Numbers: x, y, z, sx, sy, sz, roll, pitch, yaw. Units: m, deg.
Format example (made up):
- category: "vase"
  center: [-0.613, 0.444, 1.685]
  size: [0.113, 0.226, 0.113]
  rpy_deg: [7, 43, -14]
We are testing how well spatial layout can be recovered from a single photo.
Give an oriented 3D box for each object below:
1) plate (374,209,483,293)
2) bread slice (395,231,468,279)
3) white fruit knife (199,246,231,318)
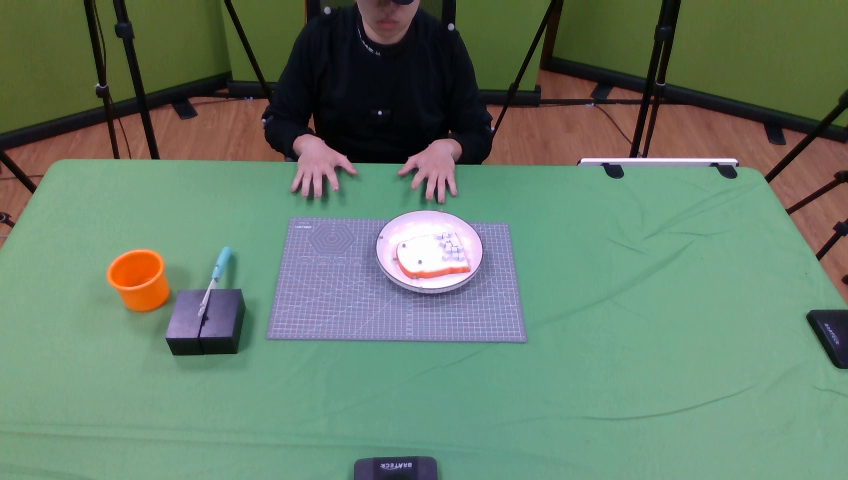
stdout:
- category: "plate"
  center: [0.009, 0.024, 1.160]
  size: [0.209, 0.038, 0.208]
  rpy_deg: [2, 46, -2]
- category: "bread slice"
  center: [0.011, 0.030, 1.158]
  size: [0.132, 0.019, 0.104]
  rpy_deg: [-9, 47, -14]
- category: "white fruit knife"
  center: [-0.367, 0.069, 1.063]
  size: [0.016, 0.027, 0.206]
  rpy_deg: [-1, 32, -4]
